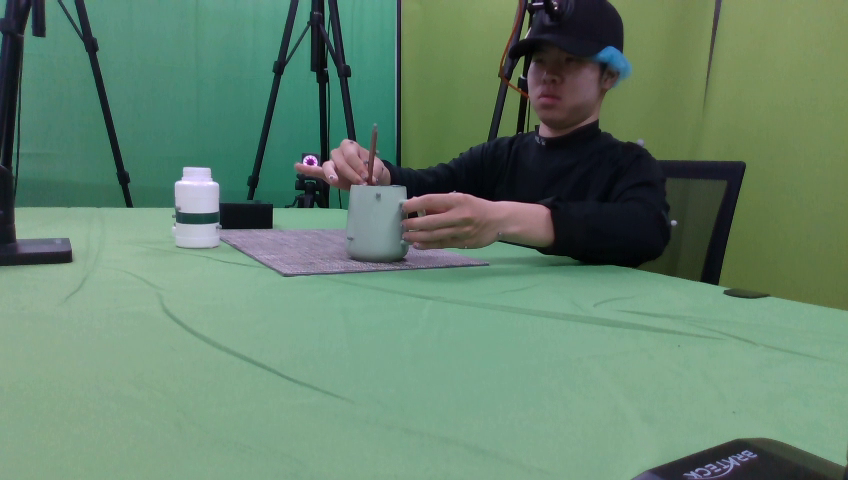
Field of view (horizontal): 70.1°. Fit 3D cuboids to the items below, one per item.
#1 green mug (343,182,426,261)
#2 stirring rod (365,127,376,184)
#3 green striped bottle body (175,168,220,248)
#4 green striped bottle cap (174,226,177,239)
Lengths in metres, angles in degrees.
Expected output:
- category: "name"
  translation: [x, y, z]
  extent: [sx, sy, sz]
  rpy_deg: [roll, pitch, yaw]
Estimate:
- category: "green mug"
  translation: [-0.053, -0.026, 0.848]
  extent: [0.125, 0.105, 0.093]
  rpy_deg: [6, 8, 29]
- category: "stirring rod"
  translation: [-0.081, -0.071, 0.853]
  extent: [0.006, 0.176, 0.014]
  rpy_deg: [4, 6, -28]
- category: "green striped bottle body"
  translation: [-0.345, -0.050, 0.924]
  extent: [0.063, 0.119, 0.063]
  rpy_deg: [2, 7, 0]
- category: "green striped bottle cap"
  translation: [-0.404, -0.015, 1.036]
  extent: [0.044, 0.020, 0.044]
  rpy_deg: [-1, 9, 1]
